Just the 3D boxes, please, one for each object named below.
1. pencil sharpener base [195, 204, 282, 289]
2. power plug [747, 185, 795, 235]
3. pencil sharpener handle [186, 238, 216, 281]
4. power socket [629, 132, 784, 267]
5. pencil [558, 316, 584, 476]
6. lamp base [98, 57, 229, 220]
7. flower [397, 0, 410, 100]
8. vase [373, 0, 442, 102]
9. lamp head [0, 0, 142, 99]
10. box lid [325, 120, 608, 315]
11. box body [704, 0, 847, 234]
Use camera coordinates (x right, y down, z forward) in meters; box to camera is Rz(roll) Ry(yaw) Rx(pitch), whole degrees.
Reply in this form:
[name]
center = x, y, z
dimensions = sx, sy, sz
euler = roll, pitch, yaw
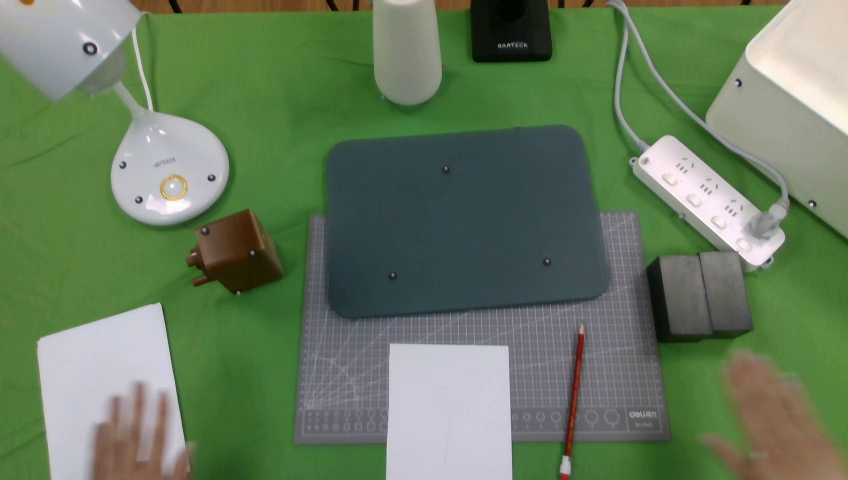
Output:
[pencil sharpener base]
center = -0.230, 0.012, 0.756
dimensions = 0.077, 0.108, 0.061
euler = -21, 71, -7
[power plug]
center = 0.452, -0.032, 0.784
dimensions = 0.072, 0.053, 0.035
euler = -28, 69, -14
[pencil sharpener handle]
center = -0.277, 0.028, 0.736
dimensions = 0.030, 0.068, 0.035
euler = -21, 58, -7
[power socket]
center = 0.381, -0.057, 0.819
dimensions = 0.072, 0.033, 0.225
euler = -39, 74, -13
[pencil]
center = 0.181, 0.186, 0.738
dimensions = 0.012, 0.012, 0.193
euler = 11, 72, 5
[lamp base]
center = -0.359, -0.138, 0.773
dimensions = 0.160, 0.181, 0.178
euler = -30, 70, -11
[flower]
center = -0.015, -0.317, 0.740
dimensions = 0.044, 0.364, 0.038
euler = -23, 58, -24
[vase]
center = -0.023, -0.274, 0.813
dimensions = 0.098, 0.201, 0.097
euler = 0, 68, 0
[lamp head]
center = -0.320, -0.198, 0.501
dimensions = 0.112, 0.124, 0.111
euler = -28, 36, 23
[box lid]
center = 0.053, -0.037, 0.823
dimensions = 0.372, 0.015, 0.261
euler = -5, 69, -1
[box body]
center = 0.593, -0.161, 0.787
dimensions = 0.254, 0.161, 0.362
euler = -43, 75, -14
